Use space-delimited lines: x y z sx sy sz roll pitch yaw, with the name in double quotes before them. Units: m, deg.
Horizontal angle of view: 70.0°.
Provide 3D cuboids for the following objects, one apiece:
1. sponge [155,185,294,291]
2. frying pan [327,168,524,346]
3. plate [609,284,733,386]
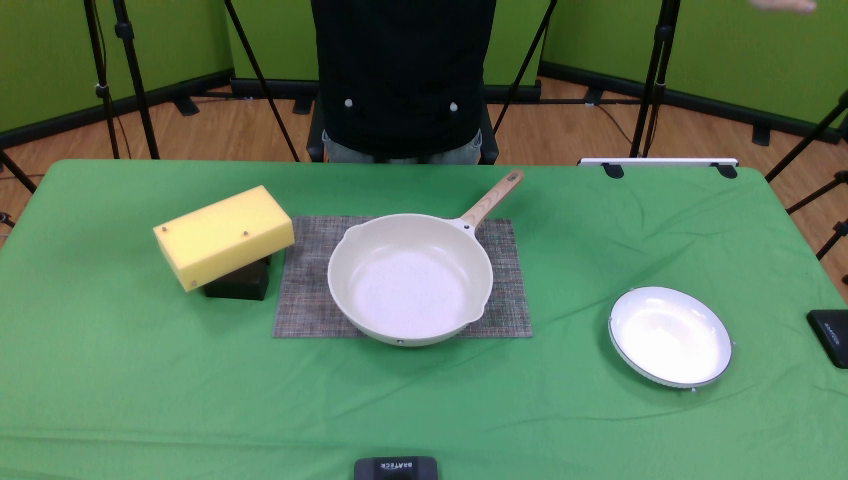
"sponge" -0.354 -0.008 1.085 0.207 0.061 0.117 -28 54 -27
"frying pan" 0.042 0.009 1.132 0.305 0.103 0.487 34 61 24
"plate" 0.424 0.167 1.059 0.208 0.039 0.206 2 46 -2
